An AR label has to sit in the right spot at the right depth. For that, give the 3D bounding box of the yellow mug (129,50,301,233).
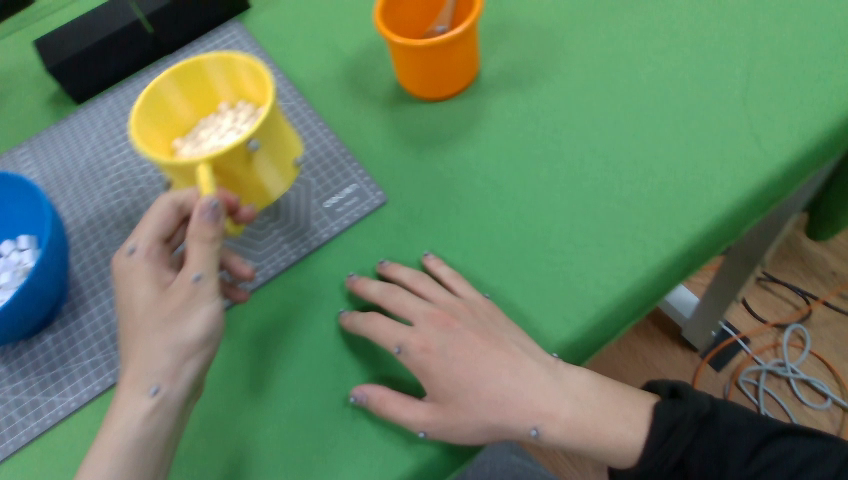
[{"bbox_3d":[-0.141,-0.063,0.422,0.100,0.064,0.129,-15,59,0],"label":"yellow mug"}]

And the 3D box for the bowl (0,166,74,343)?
[{"bbox_3d":[-0.333,0.026,0.468,0.151,0.077,0.150,-4,60,8],"label":"bowl"}]

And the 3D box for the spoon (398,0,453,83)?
[{"bbox_3d":[0.030,-0.218,0.504,0.041,0.194,0.022,45,32,25],"label":"spoon"}]
